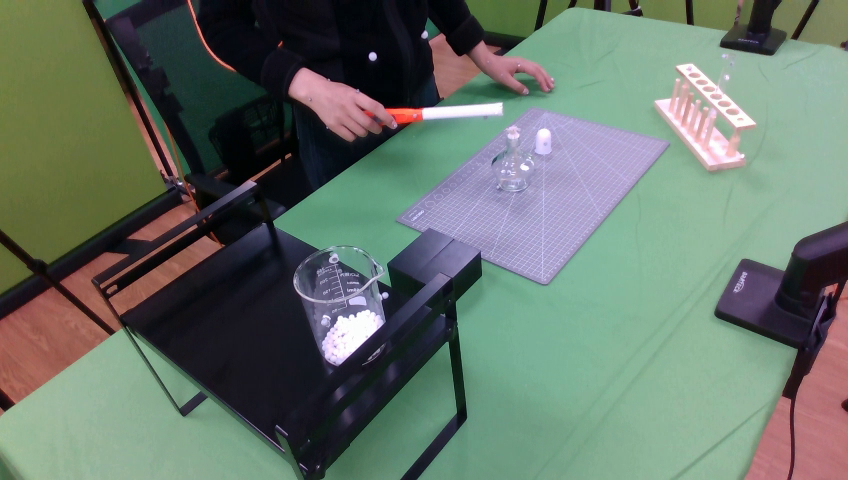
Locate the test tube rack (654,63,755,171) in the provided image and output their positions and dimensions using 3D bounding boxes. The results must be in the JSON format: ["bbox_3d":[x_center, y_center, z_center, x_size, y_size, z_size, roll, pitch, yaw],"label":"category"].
[{"bbox_3d":[0.510,-0.233,1.120,0.067,0.085,0.241,-8,41,-1],"label":"test tube rack"}]

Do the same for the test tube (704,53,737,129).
[{"bbox_3d":[0.526,-0.261,1.074,0.017,0.151,0.017,-2,44,2],"label":"test tube"}]

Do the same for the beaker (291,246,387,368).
[{"bbox_3d":[-0.073,0.066,0.573,0.084,0.101,0.073,-7,41,0],"label":"beaker"}]

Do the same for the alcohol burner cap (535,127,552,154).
[{"bbox_3d":[0.227,-0.190,1.142,0.034,0.048,0.033,-3,40,3],"label":"alcohol burner cap"}]

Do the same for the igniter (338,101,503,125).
[{"bbox_3d":[-0.010,-0.207,0.981,0.276,0.025,0.057,-1,21,10],"label":"igniter"}]

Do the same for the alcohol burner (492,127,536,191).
[{"bbox_3d":[0.156,-0.146,1.046,0.078,0.119,0.077,-4,43,4],"label":"alcohol burner"}]
